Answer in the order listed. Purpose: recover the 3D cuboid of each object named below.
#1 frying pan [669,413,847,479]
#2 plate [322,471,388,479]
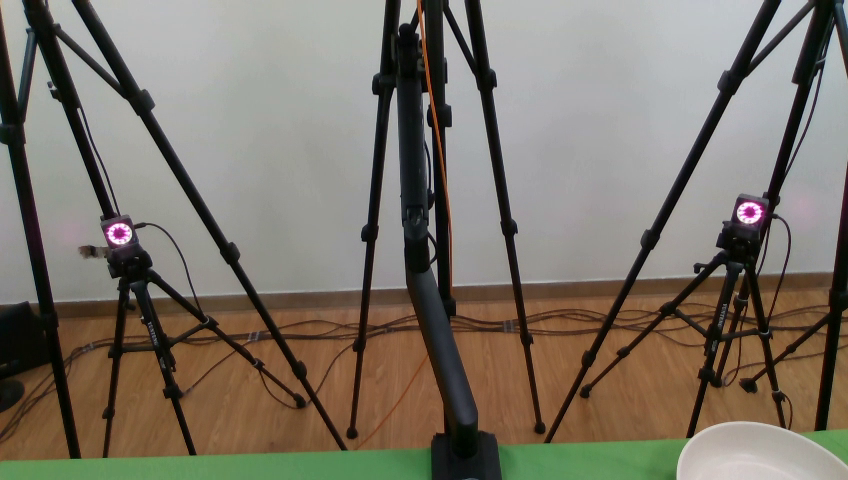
[{"bbox_3d":[0.527,0.451,0.856,0.306,0.103,0.484,0,26,6],"label":"frying pan"},{"bbox_3d":[-0.117,0.459,0.942,0.208,0.039,0.205,-2,34,1],"label":"plate"}]
